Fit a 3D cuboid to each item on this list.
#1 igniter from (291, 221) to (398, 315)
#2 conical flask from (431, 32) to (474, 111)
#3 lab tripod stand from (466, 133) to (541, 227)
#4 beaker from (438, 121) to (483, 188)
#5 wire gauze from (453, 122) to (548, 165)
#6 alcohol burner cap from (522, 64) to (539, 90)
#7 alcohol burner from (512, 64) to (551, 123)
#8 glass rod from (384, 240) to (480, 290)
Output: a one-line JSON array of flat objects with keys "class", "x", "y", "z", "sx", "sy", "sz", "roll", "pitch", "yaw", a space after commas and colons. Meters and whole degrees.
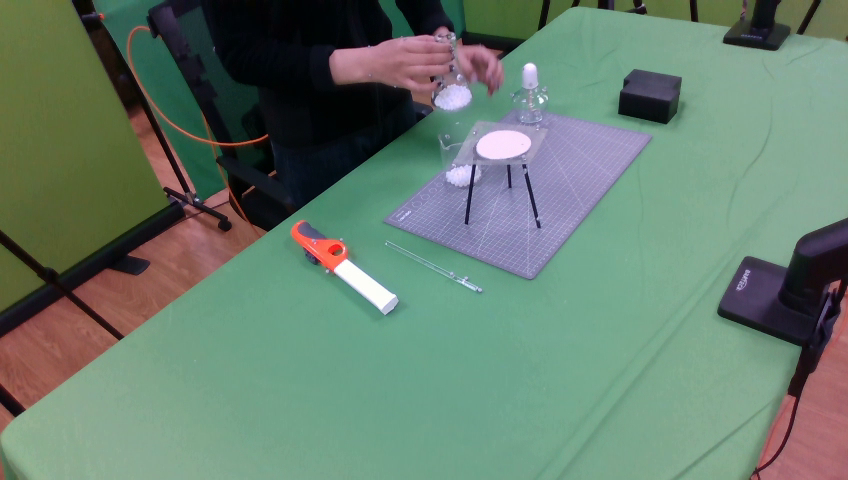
[{"class": "igniter", "x": -0.136, "y": 0.037, "z": 0.962, "sx": 0.057, "sy": 0.025, "sz": 0.274, "roll": -41, "pitch": 48, "yaw": -18}, {"class": "conical flask", "x": 0.043, "y": -0.288, "z": 1.026, "sx": 0.075, "sy": 0.122, "sz": 0.075, "roll": -6, "pitch": 42, "yaw": 6}, {"class": "lab tripod stand", "x": 0.130, "y": -0.099, "z": 0.985, "sx": 0.148, "sy": 0.132, "sz": 0.147, "roll": -6, "pitch": 38, "yaw": 6}, {"class": "beaker", "x": 0.066, "y": -0.149, "z": 1.083, "sx": 0.073, "sy": 0.101, "sz": 0.084, "roll": 20, "pitch": 49, "yaw": 31}, {"class": "wire gauze", "x": 0.121, "y": -0.150, "z": 0.942, "sx": 0.121, "sy": 0.011, "sz": 0.125, "roll": 8, "pitch": 42, "yaw": 21}, {"class": "alcohol burner cap", "x": 0.210, "y": -0.325, "z": 1.195, "sx": 0.034, "sy": 0.048, "sz": 0.033, "roll": -6, "pitch": 45, "yaw": 7}, {"class": "alcohol burner", "x": 0.215, "y": -0.298, "z": 1.220, "sx": 0.078, "sy": 0.120, "sz": 0.077, "roll": -7, "pitch": 40, "yaw": 7}, {"class": "glass rod", "x": 0.009, "y": 0.037, "z": 0.949, "sx": 0.198, "sy": 0.008, "sz": 0.008, "roll": 26, "pitch": 52, "yaw": 34}]
